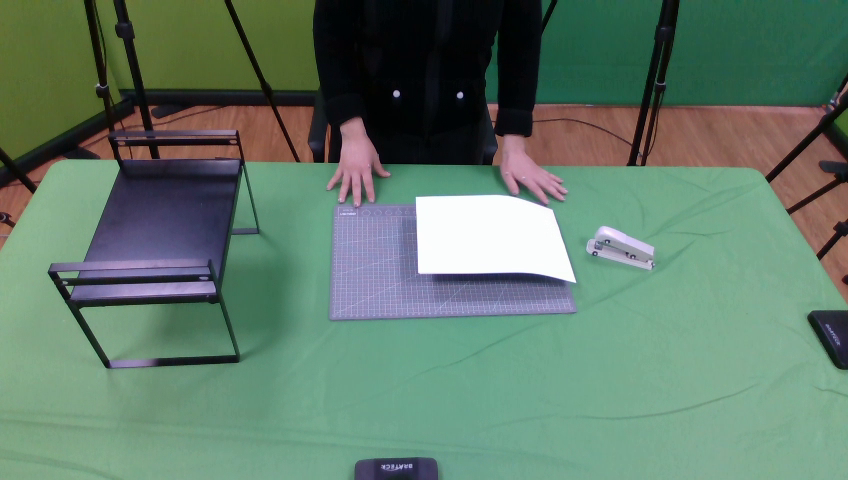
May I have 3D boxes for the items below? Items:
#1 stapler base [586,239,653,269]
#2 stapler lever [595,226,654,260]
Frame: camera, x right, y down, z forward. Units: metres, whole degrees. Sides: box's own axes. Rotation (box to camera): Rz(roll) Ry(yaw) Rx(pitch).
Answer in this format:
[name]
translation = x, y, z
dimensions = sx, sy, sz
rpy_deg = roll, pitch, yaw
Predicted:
[stapler base]
translation = 0.392, 0.021, 1.205
dimensions = 0.130, 0.024, 0.041
rpy_deg = 17, 49, 10
[stapler lever]
translation = 0.395, 0.005, 1.188
dimensions = 0.118, 0.040, 0.026
rpy_deg = 16, 49, 11
